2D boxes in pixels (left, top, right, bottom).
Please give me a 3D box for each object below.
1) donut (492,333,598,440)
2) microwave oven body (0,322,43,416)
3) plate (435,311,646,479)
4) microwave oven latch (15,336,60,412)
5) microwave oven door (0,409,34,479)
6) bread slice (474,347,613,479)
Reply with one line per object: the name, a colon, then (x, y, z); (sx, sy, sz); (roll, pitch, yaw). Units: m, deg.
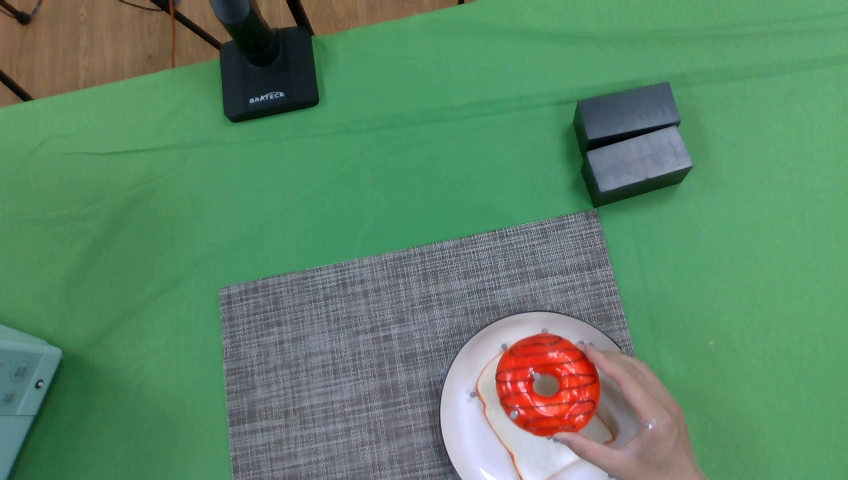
donut: (0.113, 0.137, 0.570); (0.099, 0.048, 0.098); (-3, 70, 7)
microwave oven body: (-0.650, 0.249, 0.582); (0.325, 0.262, 0.440); (16, 78, 11)
plate: (0.116, 0.178, 0.620); (0.207, 0.039, 0.206); (-2, 75, 7)
microwave oven latch: (-0.443, 0.151, 0.683); (0.030, 0.030, 0.079); (18, 79, 11)
microwave oven door: (-0.526, 0.325, 0.540); (0.039, 0.245, 0.354); (16, 77, 12)
bread slice: (0.113, 0.171, 0.622); (0.105, 0.019, 0.130); (-32, 73, -2)
